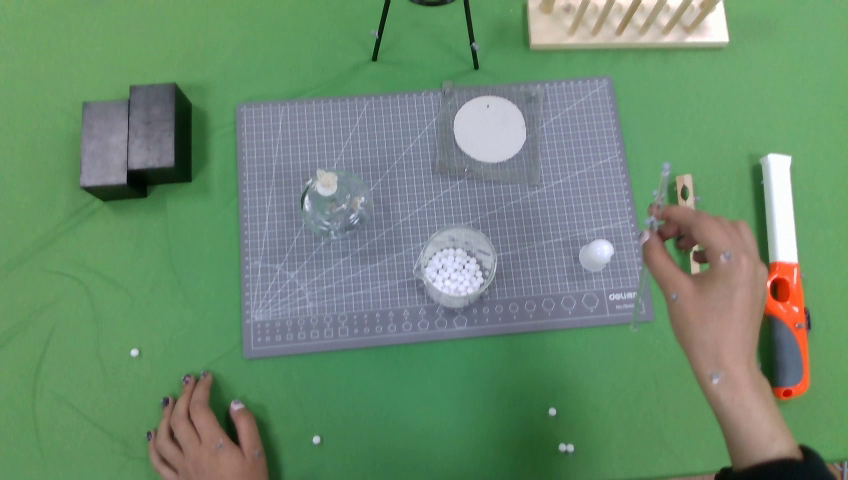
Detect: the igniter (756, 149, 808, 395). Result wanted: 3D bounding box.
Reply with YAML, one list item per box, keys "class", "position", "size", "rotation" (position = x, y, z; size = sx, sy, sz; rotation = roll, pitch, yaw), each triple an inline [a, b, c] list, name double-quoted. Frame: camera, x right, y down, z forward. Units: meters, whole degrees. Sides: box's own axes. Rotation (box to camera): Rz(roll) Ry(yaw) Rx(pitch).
- class: "igniter"
  position: [0.396, 0.031, 0.675]
  size: [0.057, 0.025, 0.275]
  rotation: [6, 77, -10]

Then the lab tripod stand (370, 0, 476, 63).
- class: "lab tripod stand"
  position: [0.002, -0.268, 0.678]
  size: [0.148, 0.132, 0.147]
  rotation: [0, 79, -1]

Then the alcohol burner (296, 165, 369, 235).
- class: "alcohol burner"
  position: [-0.098, -0.047, 0.634]
  size: [0.078, 0.119, 0.077]
  rotation: [0, 76, 1]

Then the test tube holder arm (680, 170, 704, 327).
- class: "test tube holder arm"
  position: [0.300, 0.008, 0.681]
  size: [0.013, 0.015, 0.177]
  rotation: [-10, 75, 33]

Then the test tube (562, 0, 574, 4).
- class: "test tube"
  position: [0.179, -0.308, 0.665]
  size: [0.017, 0.150, 0.017]
  rotation: [1, 77, -4]

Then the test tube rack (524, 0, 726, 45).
- class: "test tube rack"
  position: [0.247, -0.284, 0.712]
  size: [0.242, 0.085, 0.066]
  rotation: [-1, 77, -1]

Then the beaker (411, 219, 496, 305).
- class: "beaker"
  position: [0.028, 0.028, 0.628]
  size: [0.084, 0.100, 0.073]
  rotation: [-13, 77, -3]

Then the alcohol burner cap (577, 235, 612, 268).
- class: "alcohol burner cap"
  position: [0.189, 0.010, 0.665]
  size: [0.034, 0.048, 0.033]
  rotation: [0, 77, -1]

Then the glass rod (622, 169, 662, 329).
- class: "glass rod"
  position: [0.184, 0.017, 0.518]
  size: [0.008, 0.202, 0.008]
  rotation: [-4, 47, 5]

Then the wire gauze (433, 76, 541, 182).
- class: "wire gauze"
  position: [0.075, -0.134, 0.712]
  size: [0.125, 0.011, 0.121]
  rotation: [6, 78, -1]

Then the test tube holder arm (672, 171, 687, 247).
- class: "test tube holder arm"
  position: [0.295, -0.035, 0.694]
  size: [0.010, 0.015, 0.087]
  rotation: [-9, 76, 33]
